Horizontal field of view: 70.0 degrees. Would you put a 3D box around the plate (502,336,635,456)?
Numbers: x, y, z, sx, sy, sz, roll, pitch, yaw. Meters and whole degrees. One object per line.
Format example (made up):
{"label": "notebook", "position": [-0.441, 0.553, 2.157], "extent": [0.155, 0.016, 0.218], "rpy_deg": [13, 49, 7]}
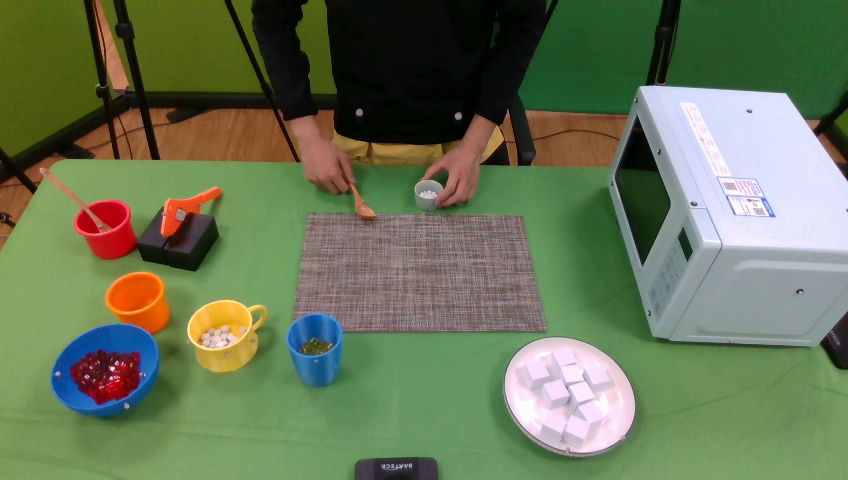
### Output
{"label": "plate", "position": [0.225, 0.248, 0.963], "extent": [0.208, 0.039, 0.206], "rpy_deg": [2, 46, -2]}

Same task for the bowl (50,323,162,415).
{"label": "bowl", "position": [-0.472, 0.209, 0.924], "extent": [0.151, 0.077, 0.150], "rpy_deg": [2, 45, -2]}

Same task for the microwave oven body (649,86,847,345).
{"label": "microwave oven body", "position": [0.568, -0.053, 1.118], "extent": [0.326, 0.261, 0.439], "rpy_deg": [2, 45, -1]}

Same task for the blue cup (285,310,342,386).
{"label": "blue cup", "position": [-0.170, 0.179, 0.958], "extent": [0.093, 0.101, 0.092], "rpy_deg": [2, 44, -1]}

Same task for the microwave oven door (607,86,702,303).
{"label": "microwave oven door", "position": [0.423, -0.094, 1.141], "extent": [0.039, 0.245, 0.353], "rpy_deg": [3, 46, -1]}

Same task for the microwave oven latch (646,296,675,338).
{"label": "microwave oven latch", "position": [0.412, 0.134, 1.061], "extent": [0.030, 0.029, 0.078], "rpy_deg": [3, 45, 0]}

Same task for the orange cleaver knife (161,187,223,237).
{"label": "orange cleaver knife", "position": [-0.448, -0.058, 1.181], "extent": [0.012, 0.077, 0.211], "rpy_deg": [13, 17, 6]}

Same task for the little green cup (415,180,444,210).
{"label": "little green cup", "position": [0.010, -0.093, 1.278], "extent": [0.061, 0.039, 0.061], "rpy_deg": [2, 48, -2]}

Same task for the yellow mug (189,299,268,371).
{"label": "yellow mug", "position": [-0.316, 0.148, 1.002], "extent": [0.131, 0.064, 0.099], "rpy_deg": [-32, 56, -31]}

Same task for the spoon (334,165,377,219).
{"label": "spoon", "position": [-0.149, -0.104, 1.280], "extent": [0.042, 0.022, 0.192], "rpy_deg": [-1, 43, -34]}

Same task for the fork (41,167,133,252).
{"label": "fork", "position": [-0.624, -0.056, 1.121], "extent": [0.208, 0.018, 0.028], "rpy_deg": [49, 52, -15]}
